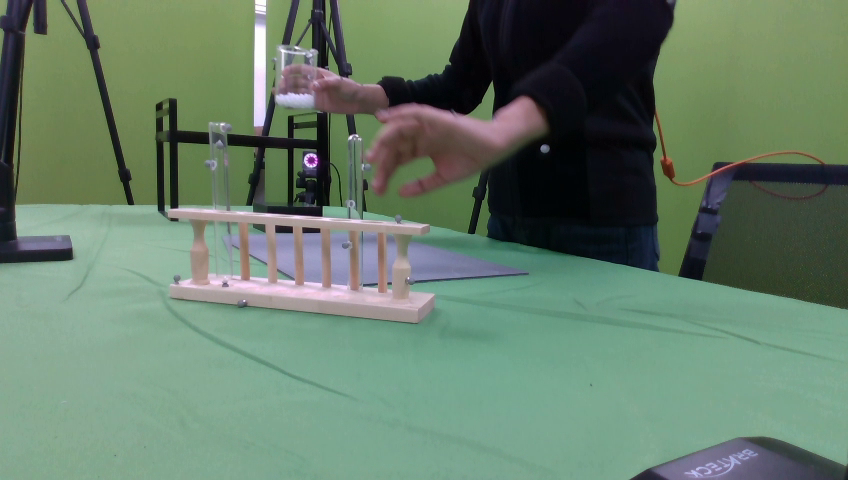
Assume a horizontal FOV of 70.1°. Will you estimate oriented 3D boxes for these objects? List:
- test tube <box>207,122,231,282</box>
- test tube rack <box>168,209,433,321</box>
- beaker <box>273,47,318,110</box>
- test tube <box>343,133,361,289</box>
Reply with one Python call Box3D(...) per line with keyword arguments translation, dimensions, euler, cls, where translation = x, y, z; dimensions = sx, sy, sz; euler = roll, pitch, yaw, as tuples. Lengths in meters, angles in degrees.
Box3D(translation=(-0.191, -0.034, 0.565), dimensions=(0.017, 0.150, 0.017), euler=(1, 11, 0), cls="test tube")
Box3D(translation=(-0.116, 0.018, 0.574), dimensions=(0.242, 0.085, 0.067), euler=(4, 8, 14), cls="test tube rack")
Box3D(translation=(-0.223, -0.280, 1.059), dimensions=(0.074, 0.100, 0.083), euler=(-6, 13, -42), cls="beaker")
Box3D(translation=(-0.069, -0.025, 0.575), dimensions=(0.017, 0.150, 0.017), euler=(1, 11, 0), cls="test tube")
